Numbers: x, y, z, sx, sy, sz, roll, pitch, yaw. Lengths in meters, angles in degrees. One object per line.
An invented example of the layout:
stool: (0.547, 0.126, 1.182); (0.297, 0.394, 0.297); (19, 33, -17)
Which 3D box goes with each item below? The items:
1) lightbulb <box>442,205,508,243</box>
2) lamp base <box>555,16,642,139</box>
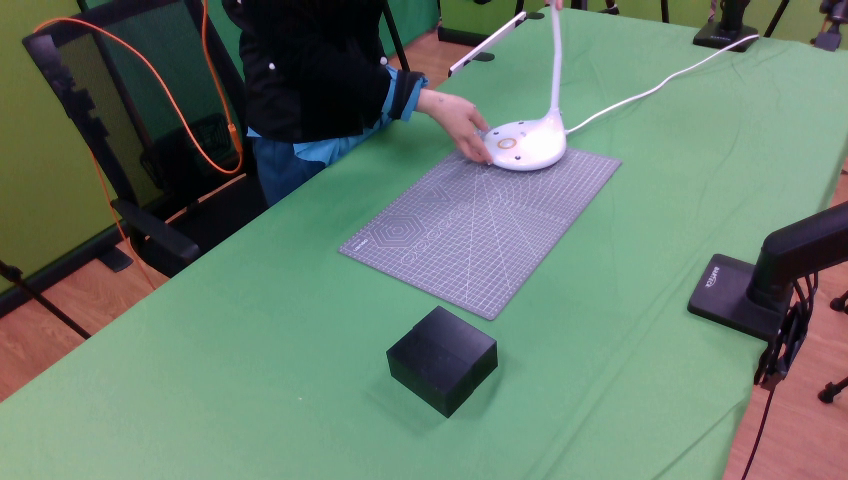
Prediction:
lightbulb: (0.081, -0.019, 0.955); (0.107, 0.059, 0.059); (18, 44, 5)
lamp base: (0.328, -0.302, 1.098); (0.159, 0.181, 0.180); (30, 53, 35)
